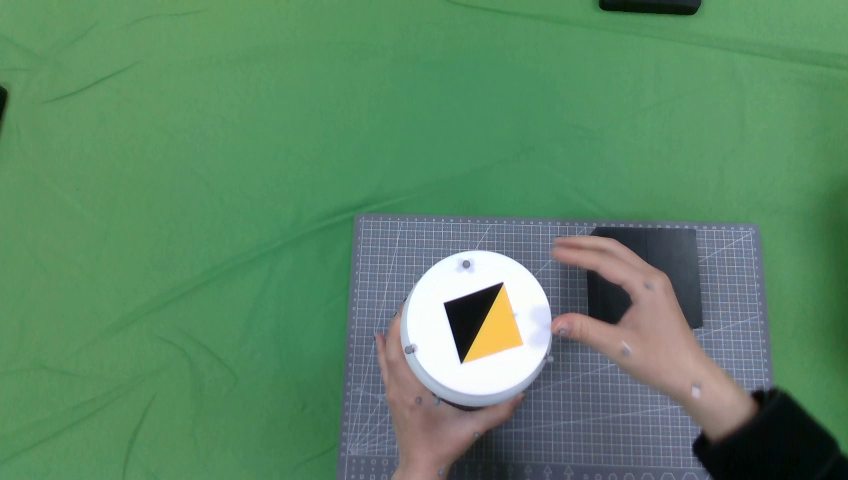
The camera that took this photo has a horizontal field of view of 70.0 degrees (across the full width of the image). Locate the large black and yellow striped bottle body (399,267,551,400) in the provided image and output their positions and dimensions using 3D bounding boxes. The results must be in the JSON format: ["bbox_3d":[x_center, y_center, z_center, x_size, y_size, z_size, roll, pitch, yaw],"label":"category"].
[{"bbox_3d":[0.045,0.081,0.560,0.131,0.185,0.130,0,76,2],"label":"large black and yellow striped bottle body"}]

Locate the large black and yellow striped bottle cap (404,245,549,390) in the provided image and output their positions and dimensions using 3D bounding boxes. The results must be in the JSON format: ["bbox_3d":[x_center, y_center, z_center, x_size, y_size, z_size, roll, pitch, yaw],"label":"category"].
[{"bbox_3d":[0.041,0.060,0.478,0.115,0.019,0.114,0,78,1],"label":"large black and yellow striped bottle cap"}]
